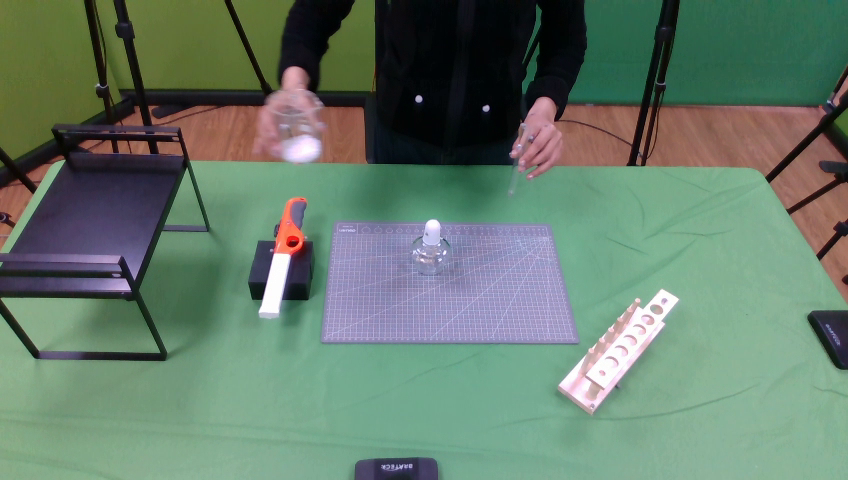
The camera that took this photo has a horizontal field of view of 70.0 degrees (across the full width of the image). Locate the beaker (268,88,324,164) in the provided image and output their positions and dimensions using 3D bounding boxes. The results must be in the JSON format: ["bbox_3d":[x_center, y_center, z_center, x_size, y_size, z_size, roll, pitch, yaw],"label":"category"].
[{"bbox_3d":[-0.197,-0.178,0.959,0.084,0.101,0.073,1,47,-2],"label":"beaker"}]

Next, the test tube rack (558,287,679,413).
[{"bbox_3d":[0.326,0.170,1.009,0.066,0.085,0.242,36,54,26],"label":"test tube rack"}]

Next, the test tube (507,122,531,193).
[{"bbox_3d":[0.167,-0.142,1.074,0.017,0.151,0.017,4,45,-3],"label":"test tube"}]

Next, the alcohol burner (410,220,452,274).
[{"bbox_3d":[0.013,0.007,1.120,0.078,0.120,0.077,1,49,-1],"label":"alcohol burner"}]

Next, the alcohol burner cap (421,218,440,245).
[{"bbox_3d":[0.013,-0.018,1.095,0.034,0.048,0.033,7,45,-7],"label":"alcohol burner cap"}]

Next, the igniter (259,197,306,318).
[{"bbox_3d":[-0.252,0.021,1.088,0.057,0.025,0.275,4,48,-2],"label":"igniter"}]
